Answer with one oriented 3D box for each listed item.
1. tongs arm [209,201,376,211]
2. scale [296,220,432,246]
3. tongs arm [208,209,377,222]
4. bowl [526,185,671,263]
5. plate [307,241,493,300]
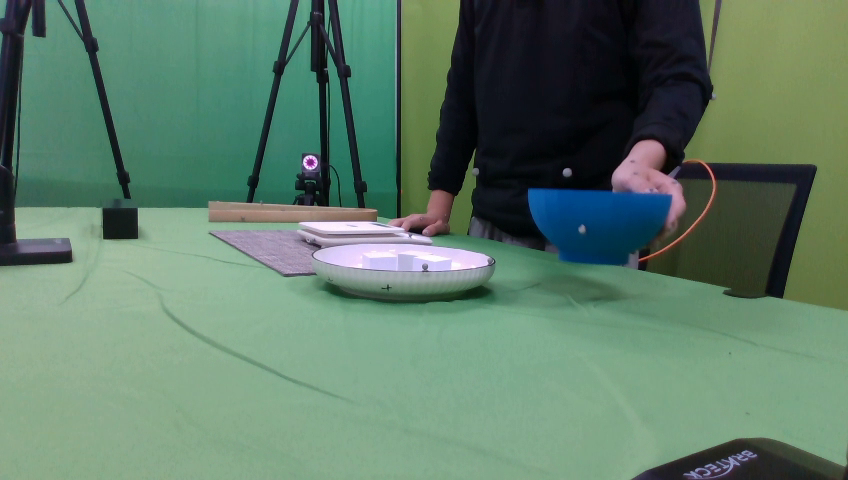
[{"bbox_3d":[-0.306,-0.070,1.430,0.386,0.026,0.050,2,8,-15],"label":"tongs arm"},{"bbox_3d":[-0.101,-0.012,1.017,0.202,0.031,0.148,-1,9,-30],"label":"scale"},{"bbox_3d":[-0.280,-0.055,1.355,0.389,0.028,0.028,-1,6,-28],"label":"tongs arm"},{"bbox_3d":[0.185,-0.018,0.658,0.151,0.077,0.151,2,5,0],"label":"bowl"},{"bbox_3d":[-0.027,0.034,0.684,0.208,0.039,0.207,2,7,0],"label":"plate"}]
